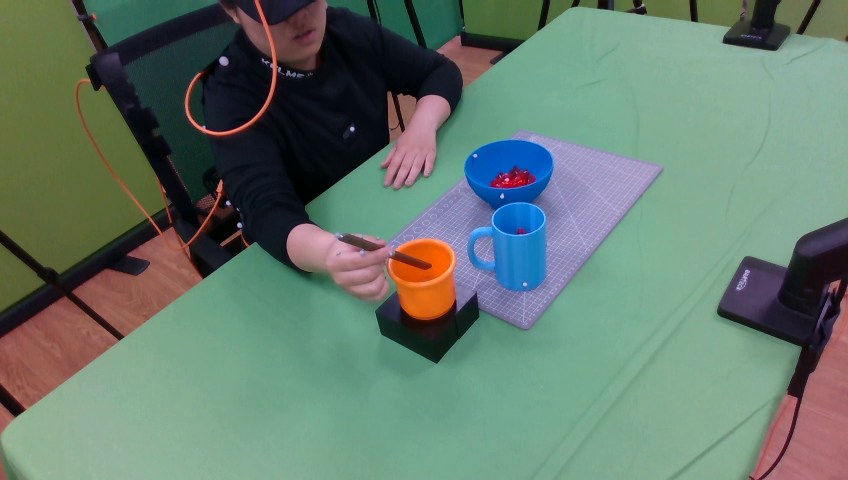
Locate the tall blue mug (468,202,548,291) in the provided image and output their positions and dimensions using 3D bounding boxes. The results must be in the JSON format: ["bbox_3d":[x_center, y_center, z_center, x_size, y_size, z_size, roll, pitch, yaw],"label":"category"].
[{"bbox_3d":[0.125,0.015,0.869,0.107,0.108,0.077,-21,42,-14],"label":"tall blue mug"}]

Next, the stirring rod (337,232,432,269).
[{"bbox_3d":[-0.042,0.015,0.726,0.014,0.178,0.006,-30,62,24],"label":"stirring rod"}]

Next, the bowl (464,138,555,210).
[{"bbox_3d":[0.145,-0.100,1.025,0.151,0.077,0.150,-5,40,5],"label":"bowl"}]
